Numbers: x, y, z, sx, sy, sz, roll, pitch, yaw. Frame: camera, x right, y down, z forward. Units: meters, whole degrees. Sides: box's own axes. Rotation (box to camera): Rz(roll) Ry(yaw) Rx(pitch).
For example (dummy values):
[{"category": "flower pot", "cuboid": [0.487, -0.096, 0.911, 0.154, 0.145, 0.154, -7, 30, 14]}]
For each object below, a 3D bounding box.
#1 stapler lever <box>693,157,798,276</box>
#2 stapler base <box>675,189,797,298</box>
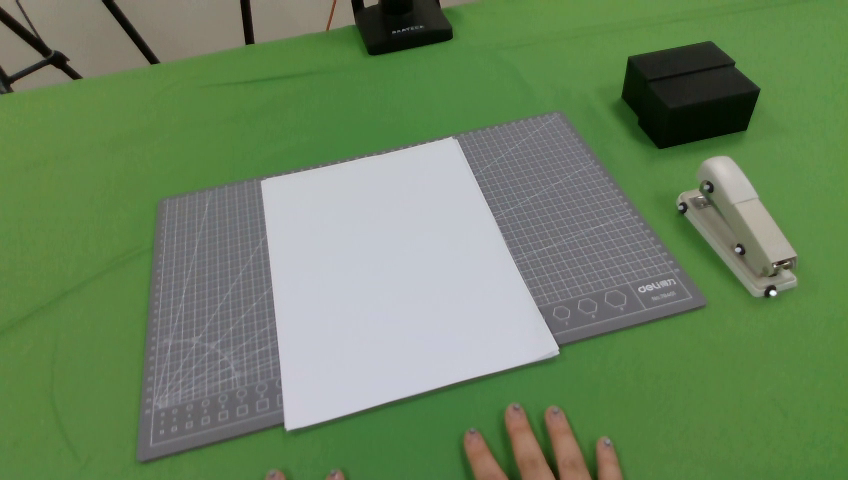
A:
[{"category": "stapler lever", "cuboid": [0.269, -0.024, 0.509, 0.027, 0.040, 0.116, -16, 48, -6]}, {"category": "stapler base", "cuboid": [0.270, -0.007, 0.529, 0.041, 0.025, 0.129, -16, 48, -6]}]
